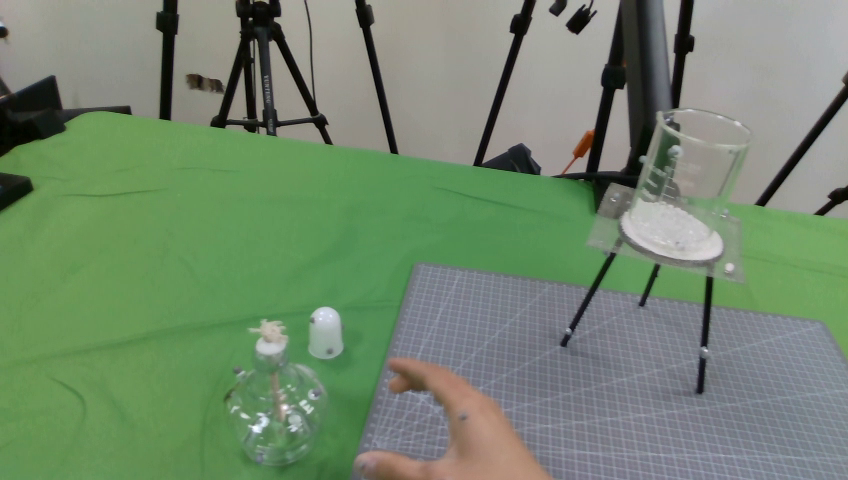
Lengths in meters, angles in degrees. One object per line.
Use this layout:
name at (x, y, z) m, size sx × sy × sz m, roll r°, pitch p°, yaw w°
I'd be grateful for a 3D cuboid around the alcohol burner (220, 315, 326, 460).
alcohol burner at (-0.113, 0.106, 0.450) m, size 0.078 × 0.120 × 0.077 m, roll 2°, pitch 34°, yaw -1°

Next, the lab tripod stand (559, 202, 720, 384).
lab tripod stand at (0.211, 0.044, 0.563) m, size 0.148 × 0.132 × 0.147 m, roll 5°, pitch 34°, yaw -3°

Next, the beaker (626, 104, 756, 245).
beaker at (0.212, -0.054, 0.502) m, size 0.074 × 0.101 × 0.083 m, roll -16°, pitch 40°, yaw -29°

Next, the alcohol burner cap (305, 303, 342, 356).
alcohol burner cap at (-0.093, 0.080, 0.557) m, size 0.034 × 0.048 × 0.033 m, roll 3°, pitch 33°, yaw -2°

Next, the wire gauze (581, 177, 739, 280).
wire gauze at (0.210, -0.012, 0.528) m, size 0.121 × 0.011 × 0.124 m, roll 17°, pitch 38°, yaw 17°
